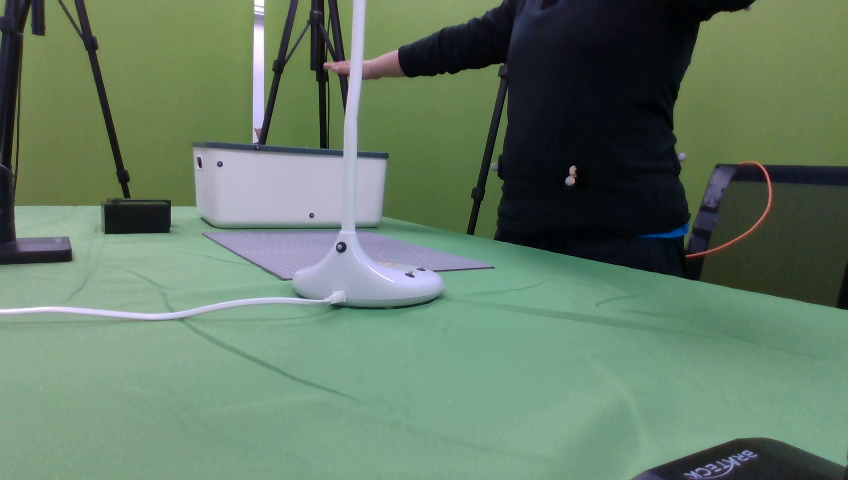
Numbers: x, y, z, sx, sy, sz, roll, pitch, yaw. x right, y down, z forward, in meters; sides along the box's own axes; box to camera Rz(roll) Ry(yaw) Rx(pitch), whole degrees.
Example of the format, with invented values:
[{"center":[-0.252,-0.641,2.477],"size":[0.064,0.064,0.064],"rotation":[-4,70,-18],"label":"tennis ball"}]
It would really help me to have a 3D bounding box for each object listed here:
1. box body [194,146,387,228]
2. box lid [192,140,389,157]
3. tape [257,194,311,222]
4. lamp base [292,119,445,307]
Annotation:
[{"center":[-0.288,-0.118,1.291],"size":[0.366,0.160,0.253],"rotation":[-1,8,-28],"label":"box body"},{"center":[-0.287,-0.191,1.281],"size":[0.373,0.015,0.262],"rotation":[0,8,-28],"label":"box lid"},{"center":[-0.301,-0.070,1.297],"size":[0.117,0.052,0.117],"rotation":[3,7,0],"label":"tape"},{"center":[-0.056,-0.030,0.616],"size":[0.160,0.180,0.179],"rotation":[3,10,8],"label":"lamp base"}]
